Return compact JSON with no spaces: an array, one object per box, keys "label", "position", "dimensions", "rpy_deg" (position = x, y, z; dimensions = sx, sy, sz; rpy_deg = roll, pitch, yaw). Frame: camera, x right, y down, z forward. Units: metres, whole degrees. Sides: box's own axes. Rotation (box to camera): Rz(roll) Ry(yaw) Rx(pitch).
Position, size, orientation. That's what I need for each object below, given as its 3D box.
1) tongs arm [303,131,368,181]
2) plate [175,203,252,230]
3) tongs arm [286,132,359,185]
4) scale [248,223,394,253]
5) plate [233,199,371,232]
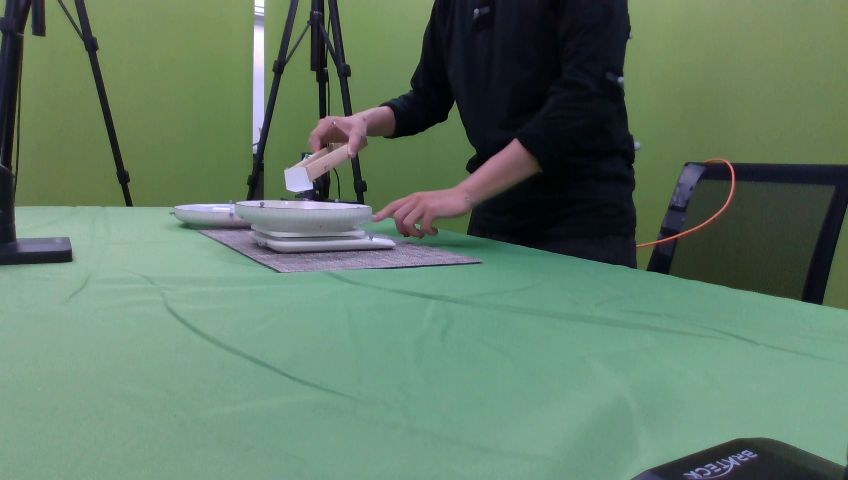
[{"label":"tongs arm","position":[-0.155,-0.163,1.120],"dimensions":[0.028,0.028,0.387],"rpy_deg":[-16,15,14]},{"label":"plate","position":[-0.381,-0.047,1.199],"dimensions":[0.208,0.039,0.207],"rpy_deg":[3,7,0]},{"label":"tongs arm","position":[-0.177,-0.159,1.125],"dimensions":[0.051,0.026,0.384],"rpy_deg":[-13,16,8]},{"label":"scale","position":[-0.162,-0.006,0.954],"dimensions":[0.202,0.031,0.148],"rpy_deg":[-2,8,-32]},{"label":"plate","position":[-0.188,-0.039,0.939],"dimensions":[0.209,0.038,0.209],"rpy_deg":[3,7,0]}]
